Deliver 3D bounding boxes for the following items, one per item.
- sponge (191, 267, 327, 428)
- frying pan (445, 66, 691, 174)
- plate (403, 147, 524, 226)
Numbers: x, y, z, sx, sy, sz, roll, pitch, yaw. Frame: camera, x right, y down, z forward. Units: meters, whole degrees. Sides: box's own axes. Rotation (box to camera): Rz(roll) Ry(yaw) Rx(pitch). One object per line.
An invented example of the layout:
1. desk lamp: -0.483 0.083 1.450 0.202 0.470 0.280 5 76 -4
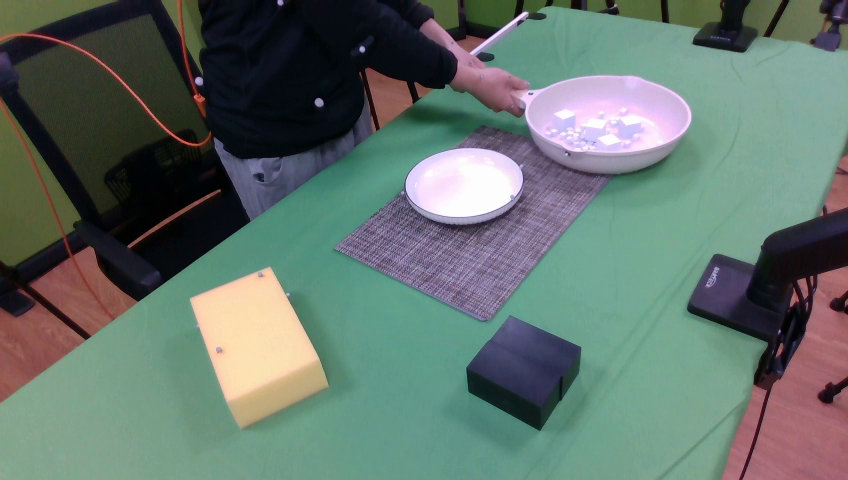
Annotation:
1. sponge: -0.226 0.135 0.814 0.119 0.061 0.205 -23 43 -19
2. frying pan: 0.250 -0.258 1.165 0.485 0.103 0.307 27 48 22
3. plate: 0.069 -0.089 1.044 0.207 0.039 0.206 -4 40 4
